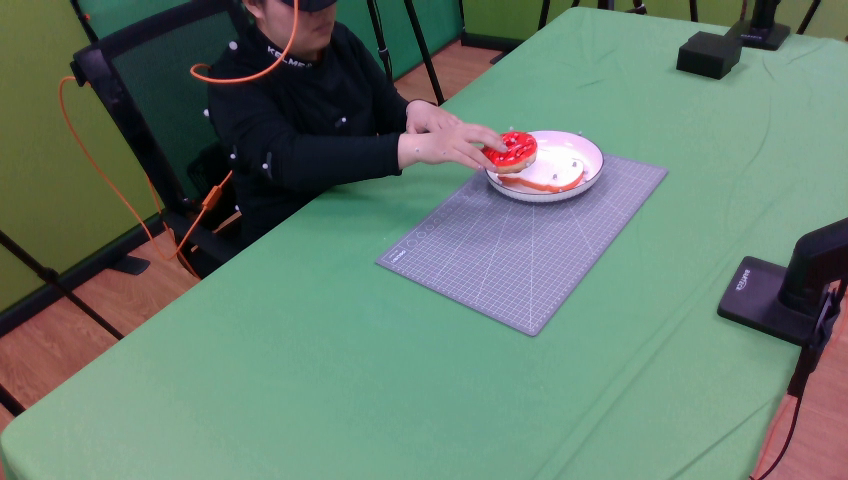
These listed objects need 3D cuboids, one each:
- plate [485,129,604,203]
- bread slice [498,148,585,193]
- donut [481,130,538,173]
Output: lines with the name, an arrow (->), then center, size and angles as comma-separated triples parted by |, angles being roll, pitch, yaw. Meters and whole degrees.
plate -> 0.213, -0.129, 1.079 | 0.209, 0.038, 0.208 | -5, 40, 5
bread slice -> 0.216, -0.124, 1.077 | 0.133, 0.018, 0.107 | 16, 47, 28
donut -> 0.143, -0.149, 1.015 | 0.099, 0.048, 0.098 | -12, 35, 9
